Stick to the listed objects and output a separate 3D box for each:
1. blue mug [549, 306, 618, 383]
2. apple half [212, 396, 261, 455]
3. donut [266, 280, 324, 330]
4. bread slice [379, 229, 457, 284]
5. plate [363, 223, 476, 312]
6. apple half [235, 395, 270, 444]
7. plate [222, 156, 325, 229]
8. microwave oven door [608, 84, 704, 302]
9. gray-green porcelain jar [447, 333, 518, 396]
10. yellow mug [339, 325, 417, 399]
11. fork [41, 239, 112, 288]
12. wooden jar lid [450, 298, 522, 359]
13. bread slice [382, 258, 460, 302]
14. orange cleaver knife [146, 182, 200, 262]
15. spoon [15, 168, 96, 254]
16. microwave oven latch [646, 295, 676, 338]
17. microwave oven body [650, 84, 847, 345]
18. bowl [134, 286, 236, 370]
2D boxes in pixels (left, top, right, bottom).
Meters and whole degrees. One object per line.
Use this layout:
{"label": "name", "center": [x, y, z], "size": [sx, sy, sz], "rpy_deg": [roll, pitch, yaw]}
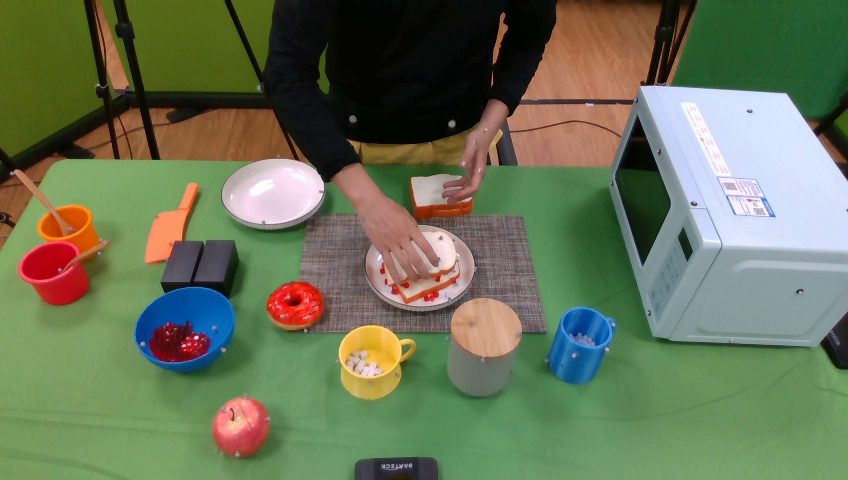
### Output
{"label": "blue mug", "center": [0.269, 0.167, 0.997], "size": [0.116, 0.106, 0.082], "rpy_deg": [-19, 51, -21]}
{"label": "apple half", "center": [-0.276, 0.276, 0.877], "size": [0.053, 0.075, 0.080], "rpy_deg": [-29, 58, -20]}
{"label": "donut", "center": [-0.223, 0.113, 1.051], "size": [0.099, 0.048, 0.098], "rpy_deg": [2, 45, -2]}
{"label": "bread slice", "center": [-0.010, 0.024, 1.084], "size": [0.134, 0.018, 0.106], "rpy_deg": [-10, 53, -7]}
{"label": "plate", "center": [-0.009, 0.054, 1.127], "size": [0.208, 0.039, 0.206], "rpy_deg": [2, 46, -2]}
{"label": "apple half", "center": [-0.245, 0.260, 0.893], "size": [0.033, 0.082, 0.081], "rpy_deg": [-29, 55, -22]}
{"label": "plate", "center": [-0.308, -0.095, 1.251], "size": [0.209, 0.038, 0.208], "rpy_deg": [2, 47, -2]}
{"label": "microwave oven door", "center": [0.424, -0.096, 1.138], "size": [0.039, 0.245, 0.353], "rpy_deg": [2, 47, -1]}
{"label": "gray-green porcelain jar", "center": [0.091, 0.178, 0.960], "size": [0.106, 0.127, 0.105], "rpy_deg": [2, 46, -2]}
{"label": "yellow mug", "center": [-0.072, 0.191, 0.978], "size": [0.131, 0.064, 0.099], "rpy_deg": [-17, 49, -20]}
{"label": "fork", "center": [-0.591, 0.040, 1.028], "size": [0.207, 0.019, 0.028], "rpy_deg": [-27, 36, 29]}
{"label": "wooden jar lid", "center": [0.093, 0.135, 0.914], "size": [0.108, 0.021, 0.107], "rpy_deg": [2, 48, -3]}
{"label": "bread slice", "center": [-0.001, 0.052, 1.128], "size": [0.132, 0.019, 0.104], "rpy_deg": [-19, 52, -22]}
{"label": "orange cleaver knife", "center": [-0.494, -0.039, 1.199], "size": [0.077, 0.012, 0.210], "rpy_deg": [-3, 48, 2]}
{"label": "spoon", "center": [-0.675, -0.053, 1.109], "size": [0.021, 0.194, 0.041], "rpy_deg": [-14, 24, 52]}
{"label": "microwave oven latch", "center": [0.413, 0.133, 1.060], "size": [0.030, 0.029, 0.078], "rpy_deg": [4, 46, 1]}
{"label": "microwave oven body", "center": [0.569, -0.054, 1.116], "size": [0.326, 0.261, 0.439], "rpy_deg": [2, 46, -1]}
{"label": "bowl", "center": [-0.377, 0.156, 0.981], "size": [0.151, 0.077, 0.150], "rpy_deg": [2, 46, -2]}
